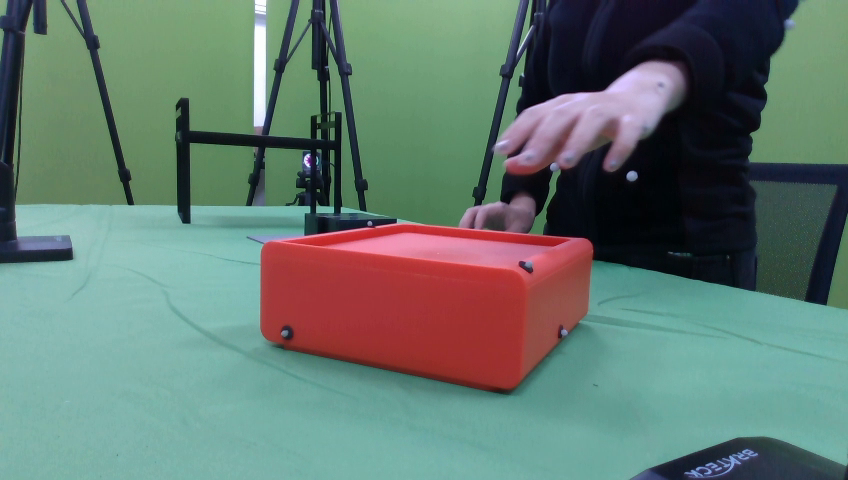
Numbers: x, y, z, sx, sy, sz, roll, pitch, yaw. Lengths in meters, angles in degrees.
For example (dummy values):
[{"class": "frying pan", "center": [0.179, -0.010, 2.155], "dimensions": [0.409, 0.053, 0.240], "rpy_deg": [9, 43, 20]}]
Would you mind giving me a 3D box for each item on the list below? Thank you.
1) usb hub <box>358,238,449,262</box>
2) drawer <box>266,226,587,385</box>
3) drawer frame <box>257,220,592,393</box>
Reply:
[{"class": "usb hub", "center": [-0.028, 0.013, 0.856], "dimensions": [0.126, 0.025, 0.049], "rpy_deg": [-2, 8, -34]}, {"class": "drawer", "center": [0.014, 0.039, 0.493], "dimensions": [0.194, 0.073, 0.212], "rpy_deg": [6, 10, 25]}, {"class": "drawer frame", "center": [0.014, 0.037, 0.491], "dimensions": [0.201, 0.082, 0.214], "rpy_deg": [6, 9, 24]}]
